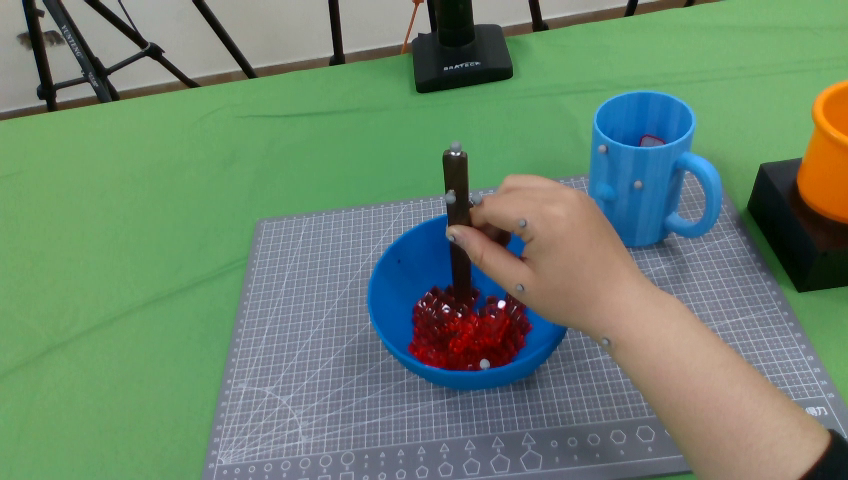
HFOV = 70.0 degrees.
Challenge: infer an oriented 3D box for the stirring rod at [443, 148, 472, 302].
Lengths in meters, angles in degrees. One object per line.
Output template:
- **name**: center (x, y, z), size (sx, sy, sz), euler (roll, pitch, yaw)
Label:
- **stirring rod**: center (0.023, 0.000, 0.388), size (0.014, 0.178, 0.005), euler (4, 59, 7)

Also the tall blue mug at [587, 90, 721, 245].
- **tall blue mug**: center (0.193, -0.055, 0.505), size (0.106, 0.109, 0.077), euler (13, 51, 22)

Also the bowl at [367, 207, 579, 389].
- **bowl**: center (0.038, 0.055, 0.455), size (0.151, 0.077, 0.150), euler (-5, 47, 6)
